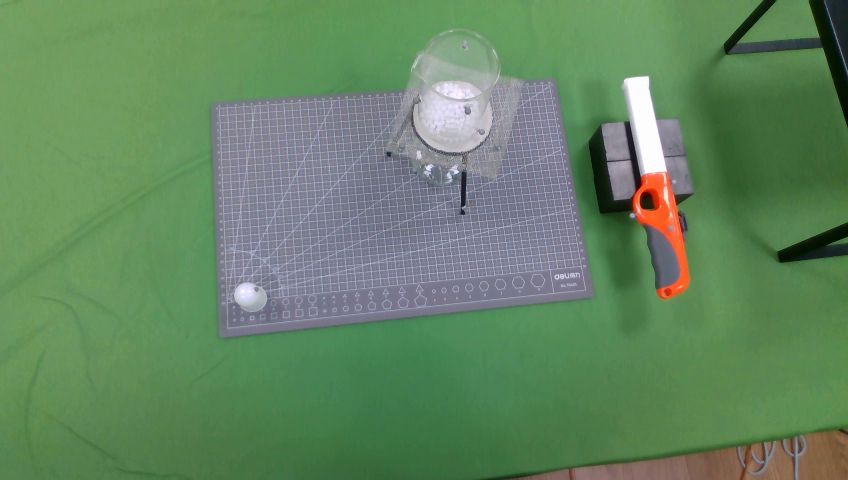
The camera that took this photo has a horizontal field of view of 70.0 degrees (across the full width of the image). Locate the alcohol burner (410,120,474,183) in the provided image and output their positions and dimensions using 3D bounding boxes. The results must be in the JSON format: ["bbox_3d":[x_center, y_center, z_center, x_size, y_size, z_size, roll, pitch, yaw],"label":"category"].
[{"bbox_3d":[0.022,-0.112,0.717,0.078,0.119,0.077,1,78,-3],"label":"alcohol burner"}]

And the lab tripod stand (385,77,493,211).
[{"bbox_3d":[0.027,-0.122,0.710,0.148,0.132,0.147,1,74,-3],"label":"lab tripod stand"}]

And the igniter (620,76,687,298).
[{"bbox_3d":[0.273,-0.068,0.724,0.057,0.025,0.275,-5,76,0],"label":"igniter"}]

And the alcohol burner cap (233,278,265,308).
[{"bbox_3d":[-0.203,0.059,0.696,0.034,0.048,0.033,1,75,-4],"label":"alcohol burner cap"}]

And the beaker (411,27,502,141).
[{"bbox_3d":[0.027,-0.148,0.599,0.084,0.100,0.073,-4,74,-5],"label":"beaker"}]

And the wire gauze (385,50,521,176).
[{"bbox_3d":[0.034,-0.136,0.646,0.121,0.011,0.124,17,72,-2],"label":"wire gauze"}]
